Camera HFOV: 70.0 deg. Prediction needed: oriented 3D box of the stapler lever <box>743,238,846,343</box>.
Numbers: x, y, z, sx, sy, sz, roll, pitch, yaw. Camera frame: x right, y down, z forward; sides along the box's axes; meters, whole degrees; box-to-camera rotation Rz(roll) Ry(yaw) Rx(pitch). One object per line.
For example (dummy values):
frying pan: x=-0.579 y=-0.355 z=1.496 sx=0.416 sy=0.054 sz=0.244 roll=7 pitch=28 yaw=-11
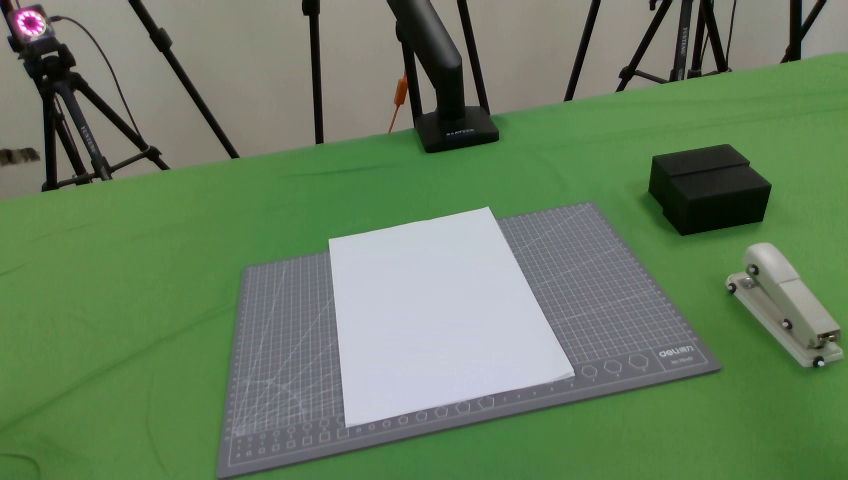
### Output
stapler lever: x=0.343 y=0.043 z=0.565 sx=0.027 sy=0.040 sz=0.117 roll=-13 pitch=37 yaw=-5

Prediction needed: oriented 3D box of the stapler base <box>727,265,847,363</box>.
stapler base: x=0.345 y=0.061 z=0.581 sx=0.041 sy=0.024 sz=0.129 roll=-13 pitch=38 yaw=-5
